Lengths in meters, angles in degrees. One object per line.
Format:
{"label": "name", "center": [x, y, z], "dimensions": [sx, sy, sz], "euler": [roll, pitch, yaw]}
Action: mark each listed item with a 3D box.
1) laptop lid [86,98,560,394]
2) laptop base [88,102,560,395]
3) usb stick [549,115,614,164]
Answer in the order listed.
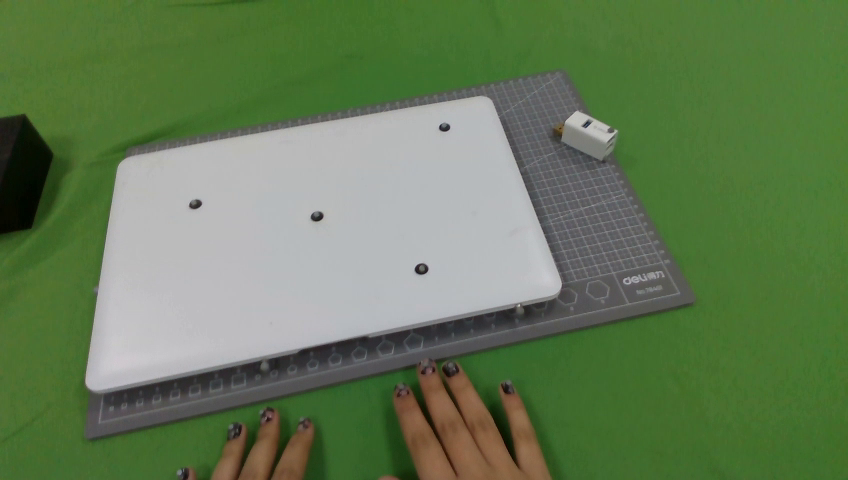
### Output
{"label": "laptop lid", "center": [-0.089, -0.014, 0.504], "dimensions": [0.357, 0.013, 0.239], "euler": [-10, 54, -3]}
{"label": "laptop base", "center": [-0.089, -0.009, 0.515], "dimensions": [0.355, 0.023, 0.233], "euler": [-11, 55, -5]}
{"label": "usb stick", "center": [0.143, -0.096, 0.558], "dimensions": [0.058, 0.027, 0.021], "euler": [32, 60, 29]}
